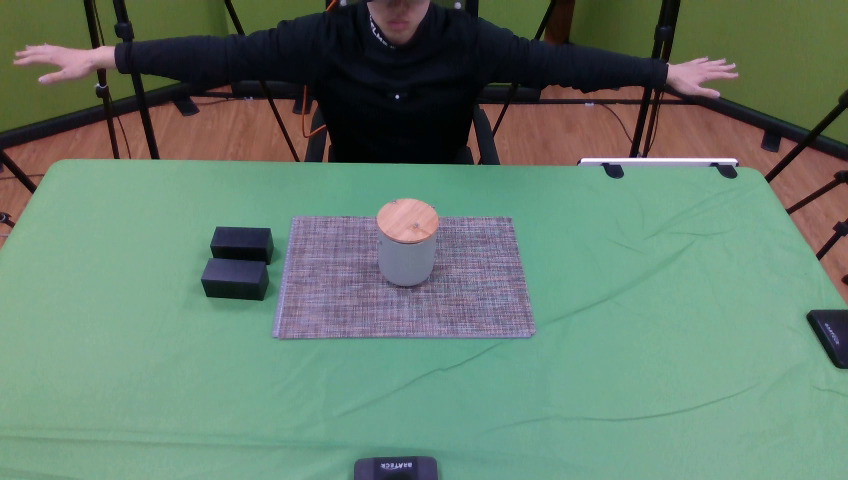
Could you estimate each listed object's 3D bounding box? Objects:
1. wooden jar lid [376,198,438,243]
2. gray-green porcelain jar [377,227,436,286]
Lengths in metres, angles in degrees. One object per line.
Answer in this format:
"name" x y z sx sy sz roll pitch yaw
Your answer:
"wooden jar lid" -0.029 -0.031 1.059 0.108 0.021 0.107 2 45 -2
"gray-green porcelain jar" -0.033 0.014 1.106 0.106 0.127 0.105 2 46 -2
